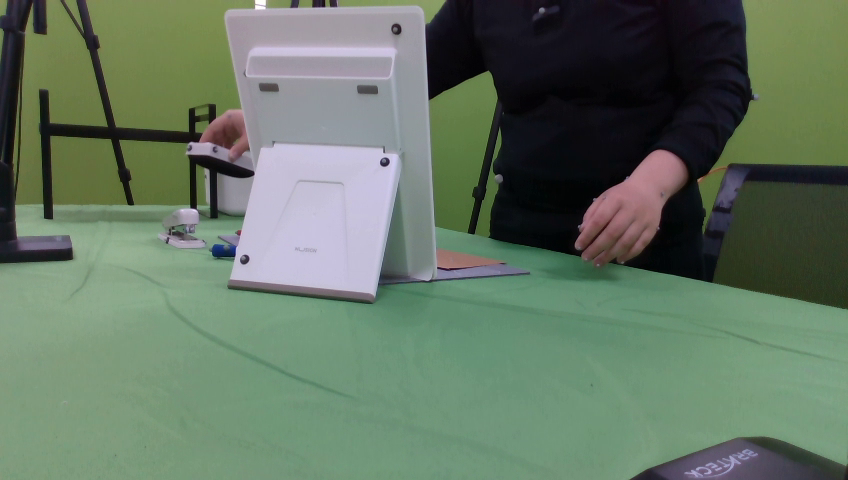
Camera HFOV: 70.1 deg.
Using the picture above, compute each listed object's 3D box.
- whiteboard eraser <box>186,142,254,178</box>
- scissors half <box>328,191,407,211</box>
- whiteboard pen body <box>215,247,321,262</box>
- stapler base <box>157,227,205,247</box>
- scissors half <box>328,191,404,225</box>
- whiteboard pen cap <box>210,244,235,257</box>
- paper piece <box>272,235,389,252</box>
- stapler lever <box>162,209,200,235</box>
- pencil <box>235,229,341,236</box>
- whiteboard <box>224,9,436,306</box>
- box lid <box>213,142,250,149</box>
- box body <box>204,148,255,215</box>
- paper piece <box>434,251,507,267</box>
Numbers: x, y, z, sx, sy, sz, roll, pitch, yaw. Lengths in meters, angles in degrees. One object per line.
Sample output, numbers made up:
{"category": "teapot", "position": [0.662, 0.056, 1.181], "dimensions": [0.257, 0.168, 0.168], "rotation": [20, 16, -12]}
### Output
{"category": "whiteboard eraser", "position": [-0.346, -0.136, 1.037], "dimensions": [0.055, 0.042, 0.113], "rotation": [10, -4, 28]}
{"category": "scissors half", "position": [-0.123, -0.092, 1.318], "dimensions": [0.175, 0.040, 0.013], "rotation": [6, 10, -3]}
{"category": "whiteboard pen body", "position": [-0.208, 0.018, 0.805], "dimensions": [0.141, 0.017, 0.017], "rotation": [3, 7, 2]}
{"category": "stapler base", "position": [-0.376, -0.007, 0.935], "dimensions": [0.041, 0.024, 0.130], "rotation": [1, 5, -38]}
{"category": "scissors half", "position": [-0.127, -0.072, 1.321], "dimensions": [0.175, 0.040, 0.013], "rotation": [22, 4, -5]}
{"category": "whiteboard pen cap", "position": [-0.266, 0.015, 0.806], "dimensions": [0.033, 0.018, 0.018], "rotation": [2, 7, -1]}
{"category": "paper piece", "position": [-0.151, 0.003, 0.978], "dimensions": [0.135, 0.008, 0.139], "rotation": [12, 10, 35]}
{"category": "stapler lever", "position": [-0.376, -0.031, 0.933], "dimensions": [0.027, 0.040, 0.117], "rotation": [1, 6, -38]}
{"category": "pencil", "position": [-0.232, -0.012, 1.053], "dimensions": [0.195, 0.012, 0.012], "rotation": [0, 7, -36]}
{"category": "whiteboard", "position": [-0.117, -0.065, 0.617], "dimensions": [0.217, 0.305, 0.144], "rotation": [5, 29, 16]}
{"category": "box lid", "position": [-0.345, -0.225, 1.509], "dimensions": [0.373, 0.015, 0.262], "rotation": [-2, 8, -31]}
{"category": "box body", "position": [-0.347, -0.152, 1.519], "dimensions": [0.366, 0.160, 0.253], "rotation": [-2, 9, -31]}
{"category": "paper piece", "position": [0.025, 0.026, 0.865], "dimensions": [0.134, 0.004, 0.136], "rotation": [8, 7, 43]}
